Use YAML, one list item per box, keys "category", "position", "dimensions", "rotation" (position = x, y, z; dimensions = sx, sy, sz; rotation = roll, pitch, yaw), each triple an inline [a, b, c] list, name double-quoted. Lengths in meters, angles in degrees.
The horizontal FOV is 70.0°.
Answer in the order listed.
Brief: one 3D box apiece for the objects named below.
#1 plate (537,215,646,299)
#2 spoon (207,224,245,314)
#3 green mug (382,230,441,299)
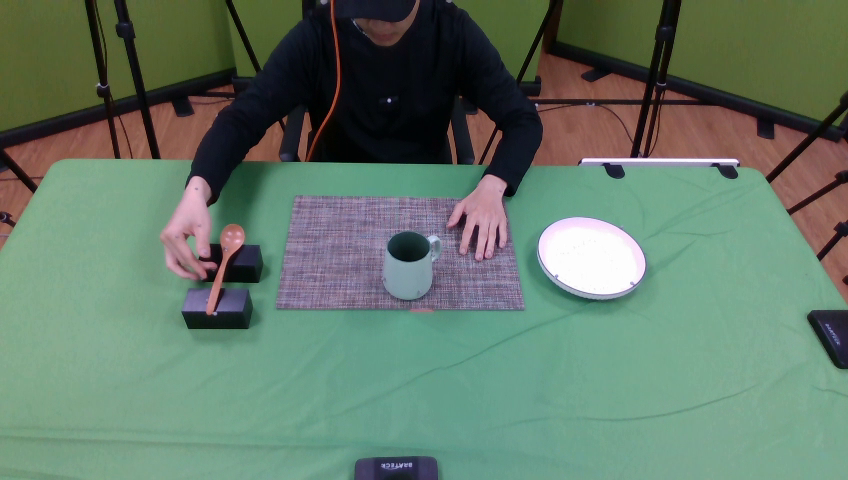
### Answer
- category: "plate"
  position: [0.321, 0.035, 1.176]
  dimensions: [0.209, 0.038, 0.208]
  rotation: [2, 47, -2]
- category: "spoon"
  position: [-0.350, 0.047, 1.056]
  dimensions: [0.042, 0.022, 0.192]
  rotation: [15, 45, -14]
- category: "green mug"
  position: [-0.017, 0.037, 1.097]
  dimensions: [0.125, 0.105, 0.092]
  rotation: [-34, 57, -31]
